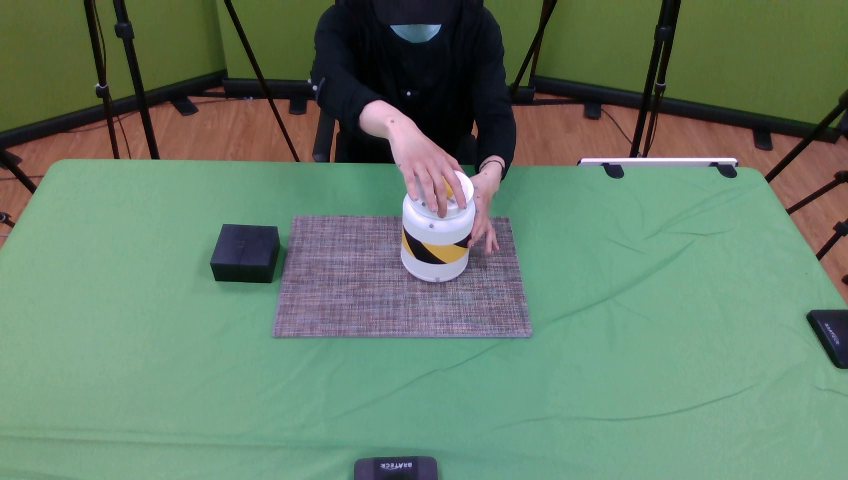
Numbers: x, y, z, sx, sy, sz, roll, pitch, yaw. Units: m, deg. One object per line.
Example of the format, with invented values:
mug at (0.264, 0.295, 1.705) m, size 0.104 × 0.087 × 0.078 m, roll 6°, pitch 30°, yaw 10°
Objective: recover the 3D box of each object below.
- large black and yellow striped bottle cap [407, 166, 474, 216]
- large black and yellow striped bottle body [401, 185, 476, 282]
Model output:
large black and yellow striped bottle cap at (0.028, -0.087, 1.045) m, size 0.115 × 0.019 × 0.114 m, roll 3°, pitch 46°, yaw -3°
large black and yellow striped bottle body at (0.025, -0.028, 1.105) m, size 0.131 × 0.185 × 0.130 m, roll 2°, pitch 46°, yaw -2°
